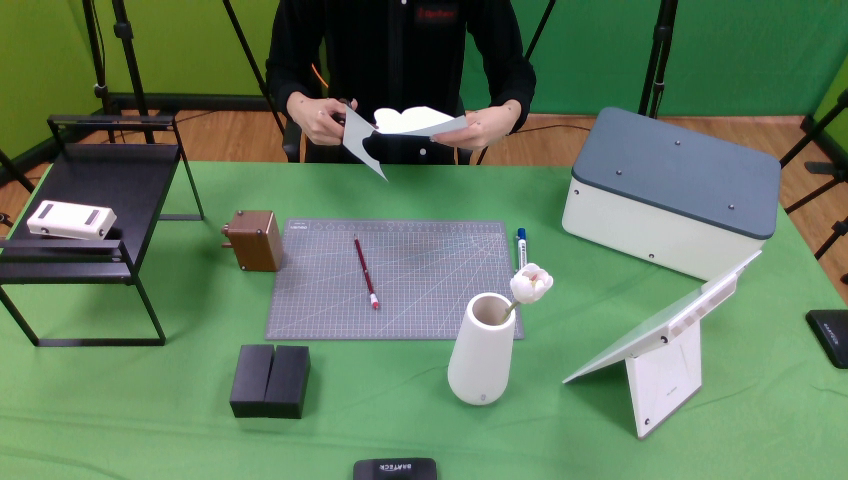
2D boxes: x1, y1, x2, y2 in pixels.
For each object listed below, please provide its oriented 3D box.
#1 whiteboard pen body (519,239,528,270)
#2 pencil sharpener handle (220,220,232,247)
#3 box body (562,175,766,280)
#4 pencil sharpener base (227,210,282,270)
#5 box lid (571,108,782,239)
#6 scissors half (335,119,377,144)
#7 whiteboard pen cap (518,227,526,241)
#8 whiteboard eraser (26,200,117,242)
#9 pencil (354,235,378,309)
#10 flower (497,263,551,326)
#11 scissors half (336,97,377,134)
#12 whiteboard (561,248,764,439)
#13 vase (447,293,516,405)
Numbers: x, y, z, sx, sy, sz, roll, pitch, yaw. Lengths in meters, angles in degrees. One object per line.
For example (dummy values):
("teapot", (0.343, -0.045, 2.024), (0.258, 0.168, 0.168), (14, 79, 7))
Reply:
("whiteboard pen body", (0.193, 0.035, 1.181), (0.017, 0.017, 0.140), (6, 48, 1))
("pencil sharpener handle", (-0.362, -0.009, 1.105), (0.030, 0.068, 0.036), (1, 53, 1))
("box body", (0.486, -0.088, 1.222), (0.363, 0.161, 0.253), (20, 48, 15))
("pencil sharpener base", (-0.311, 0.001, 1.112), (0.077, 0.107, 0.061), (1, 47, 1))
("box lid", (0.491, -0.139, 1.168), (0.370, 0.015, 0.262), (20, 49, 15))
("scissors half", (-0.119, -0.191, 1.051), (0.013, 0.040, 0.174), (-3, 5, -29))
("whiteboard pen cap", (0.197, -0.009, 1.220), (0.018, 0.018, 0.033), (5, 51, 1))
("whiteboard eraser", (-0.532, -0.026, 0.919), (0.113, 0.042, 0.055), (7, 45, 3))
("pencil", (-0.113, 0.055, 1.142), (0.012, 0.012, 0.192), (-10, 46, -13))
("flower", (0.102, 0.121, 0.852), (0.044, 0.363, 0.038), (-1, 64, -10))
("scissors half", (-0.118, -0.212, 1.046), (0.013, 0.040, 0.174), (-9, 31, -28))
("whiteboard", (0.386, 0.176, 0.905), (0.217, 0.306, 0.143), (-26, 72, -27))
("vase", (0.091, 0.169, 0.921), (0.098, 0.201, 0.097), (3, 47, -3))
